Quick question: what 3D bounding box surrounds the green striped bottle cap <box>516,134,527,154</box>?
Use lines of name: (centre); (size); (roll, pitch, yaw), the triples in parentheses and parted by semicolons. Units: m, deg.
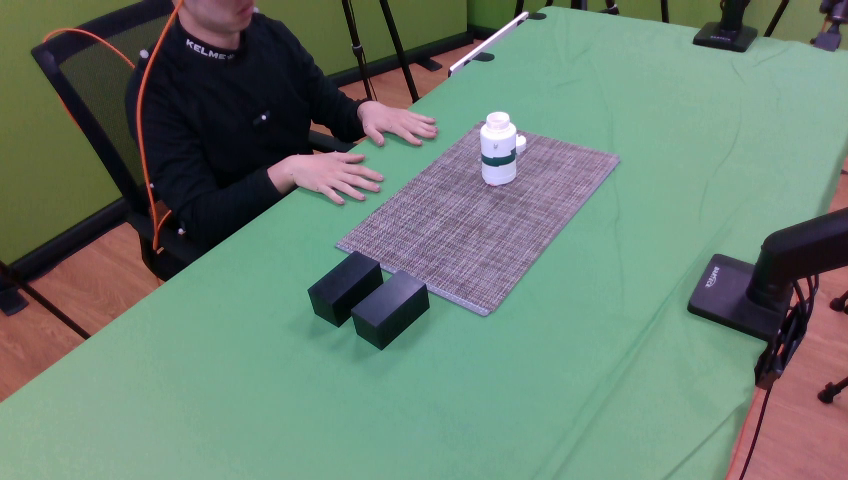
green striped bottle cap: (0.175, -0.183, 1.158); (0.044, 0.020, 0.044); (-5, 43, 5)

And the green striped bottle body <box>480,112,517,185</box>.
green striped bottle body: (0.130, -0.162, 1.057); (0.063, 0.120, 0.063); (-4, 40, 4)
